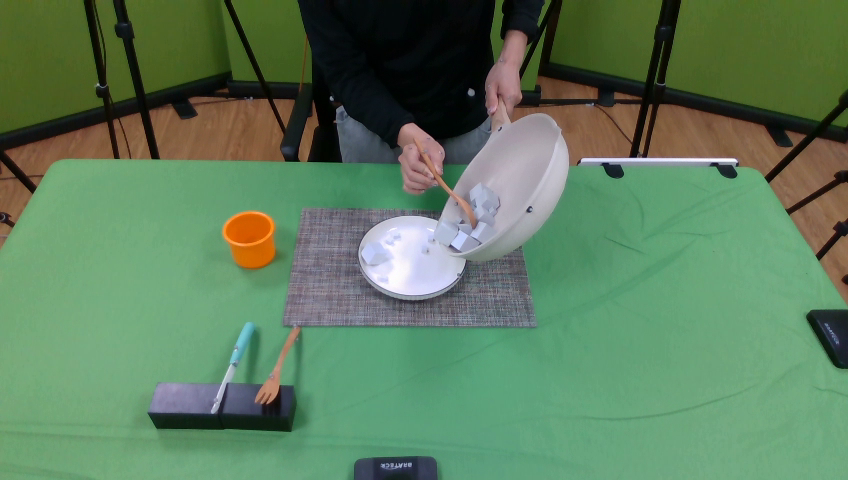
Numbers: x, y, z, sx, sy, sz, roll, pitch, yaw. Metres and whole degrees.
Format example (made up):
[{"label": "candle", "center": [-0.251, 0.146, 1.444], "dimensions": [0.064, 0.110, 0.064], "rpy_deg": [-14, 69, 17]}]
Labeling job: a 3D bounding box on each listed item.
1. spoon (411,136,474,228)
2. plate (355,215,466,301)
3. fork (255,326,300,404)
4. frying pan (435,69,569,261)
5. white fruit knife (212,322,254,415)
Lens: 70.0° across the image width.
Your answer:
[{"label": "spoon", "center": [0.034, -0.099, 1.051], "dimensions": [0.021, 0.194, 0.041], "rpy_deg": [-35, 16, 16]}, {"label": "plate", "center": [-0.025, 0.038, 1.144], "dimensions": [0.208, 0.039, 0.206], "rpy_deg": [3, 46, -2]}, {"label": "fork", "center": [-0.226, 0.192, 0.955], "dimensions": [0.028, 0.019, 0.206], "rpy_deg": [-1, 27, 4]}, {"label": "frying pan", "center": [0.143, -0.165, 1.114], "dimensions": [0.103, 0.307, 0.485], "rpy_deg": [28, 45, -29]}, {"label": "white fruit knife", "center": [-0.298, 0.193, 0.947], "dimensions": [0.016, 0.027, 0.206], "rpy_deg": [2, 31, -1]}]
